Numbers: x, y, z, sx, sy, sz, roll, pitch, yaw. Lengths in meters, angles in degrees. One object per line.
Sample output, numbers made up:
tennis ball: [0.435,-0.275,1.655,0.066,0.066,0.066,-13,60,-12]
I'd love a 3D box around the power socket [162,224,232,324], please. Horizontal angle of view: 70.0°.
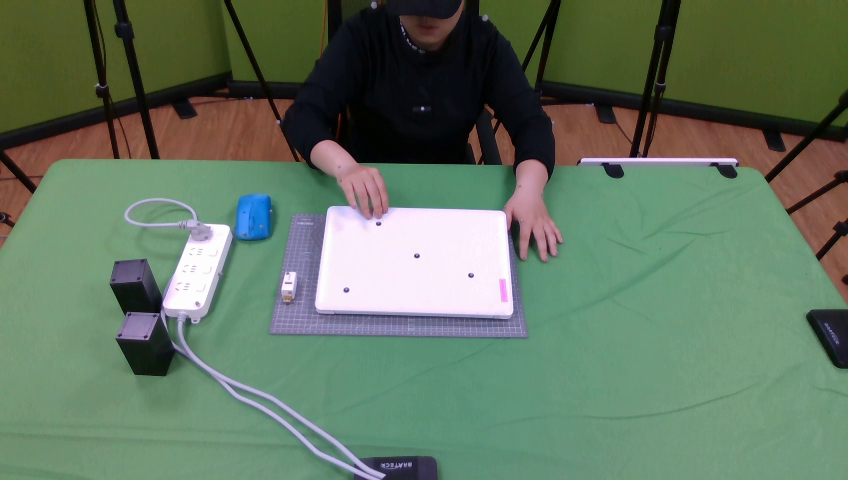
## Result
power socket: [-0.411,0.052,1.107,0.072,0.033,0.225,3,45,-1]

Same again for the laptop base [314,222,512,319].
laptop base: [-0.018,0.055,1.144,0.354,0.023,0.234,2,42,-2]

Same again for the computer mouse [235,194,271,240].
computer mouse: [-0.341,-0.049,1.208,0.063,0.041,0.116,0,50,-7]

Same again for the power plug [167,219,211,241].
power plug: [-0.438,-0.017,1.143,0.072,0.053,0.035,10,43,8]

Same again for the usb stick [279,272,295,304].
usb stick: [-0.246,0.088,1.085,0.021,0.027,0.059,4,47,-4]

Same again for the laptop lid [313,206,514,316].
laptop lid: [-0.016,0.032,1.120,0.357,0.013,0.240,3,54,-1]
